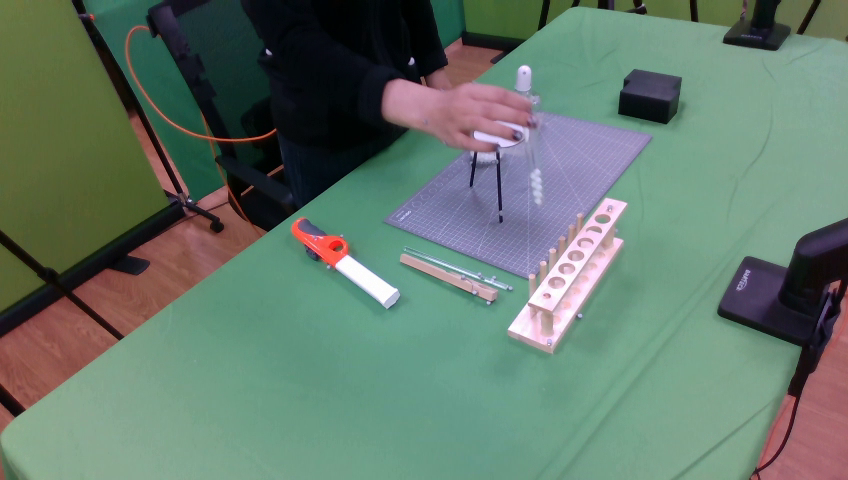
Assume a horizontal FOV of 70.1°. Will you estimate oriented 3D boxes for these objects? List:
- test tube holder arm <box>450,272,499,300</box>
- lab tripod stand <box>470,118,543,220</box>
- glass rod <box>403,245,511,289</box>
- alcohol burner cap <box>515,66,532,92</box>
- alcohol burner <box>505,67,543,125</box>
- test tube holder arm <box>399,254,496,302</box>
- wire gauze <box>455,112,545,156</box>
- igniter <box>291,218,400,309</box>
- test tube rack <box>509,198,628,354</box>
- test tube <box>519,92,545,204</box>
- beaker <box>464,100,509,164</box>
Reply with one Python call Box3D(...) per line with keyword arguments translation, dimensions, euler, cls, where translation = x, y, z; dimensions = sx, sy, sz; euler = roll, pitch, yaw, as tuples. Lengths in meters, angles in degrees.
Box3D(translation=(0.071, 0.068, 0.894), dimensions=(0.087, 0.015, 0.010), euler=(21, 15, 32), cls="test tube holder arm")
Box3D(translation=(0.135, -0.128, 1.019), dimensions=(0.148, 0.132, 0.147), euler=(-5, 38, 5), cls="lab tripod stand")
Box3D(translation=(0.047, 0.039, 0.938), dimensions=(0.198, 0.008, 0.008), euler=(21, 49, 30), cls="glass rod")
Box3D(translation=(0.198, -0.320, 1.192), dimensions=(0.034, 0.048, 0.033), euler=(0, 48, 1), cls="alcohol burner cap")
Box3D(translation=(0.201, -0.293, 1.216), dimensions=(0.078, 0.119, 0.077), euler=(-4, 41, 4), cls="alcohol burner")
Box3D(translation=(0.032, 0.054, 0.913), dimensions=(0.177, 0.015, 0.013), euler=(21, 15, 31), cls="test tube holder arm")
Box3D(translation=(0.124, -0.176, 0.972), dimensions=(0.124, 0.011, 0.121), euler=(9, 42, 20), cls="wire gauze")
Box3D(translation=(-0.136, 0.031, 0.970), dimensions=(0.057, 0.025, 0.274), euler=(-41, 49, -19), cls="igniter")
Box3D(translation=(0.206, 0.039, 0.850), dimensions=(0.066, 0.085, 0.243), euler=(20, 48, 31), cls="test tube rack")
Box3D(translation=(0.131, -0.106, 0.727), dimensions=(0.017, 0.151, 0.017), euler=(-10, 36, 8), cls="test tube")
Box3D(translation=(0.120, -0.200, 1.133), dimensions=(0.083, 0.101, 0.074), euler=(5, 43, 16), cls="beaker")
